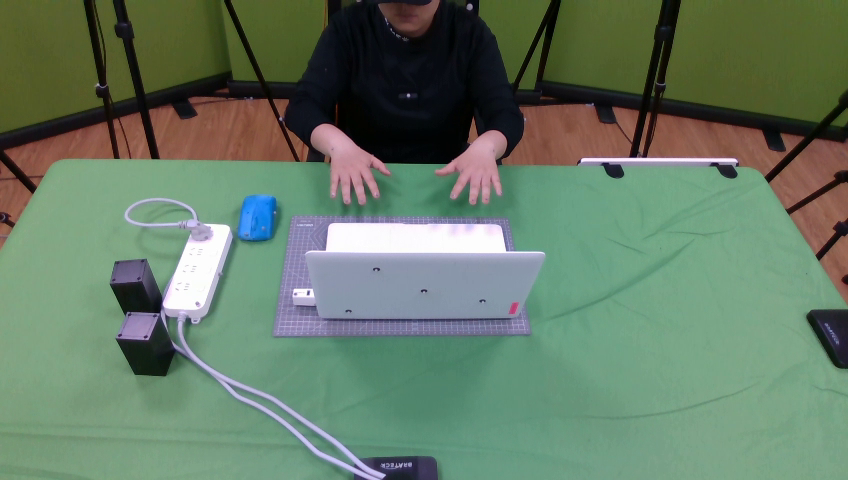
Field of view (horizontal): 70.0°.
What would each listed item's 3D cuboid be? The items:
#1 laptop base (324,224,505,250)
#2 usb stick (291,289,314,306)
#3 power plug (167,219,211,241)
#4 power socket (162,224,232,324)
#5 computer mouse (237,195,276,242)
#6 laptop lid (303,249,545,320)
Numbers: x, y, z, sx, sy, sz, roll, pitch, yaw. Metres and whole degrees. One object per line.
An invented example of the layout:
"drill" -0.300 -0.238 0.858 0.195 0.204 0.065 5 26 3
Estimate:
"laptop base" -0.014 0.055 1.144 0.355 0.023 0.234 0 42 -4
"usb stick" -0.203 0.101 1.067 0.059 0.027 0.021 4 46 -5
"power plug" -0.438 -0.017 1.143 0.072 0.053 0.035 10 43 7
"power socket" -0.411 0.053 1.106 0.072 0.033 0.225 3 45 -1
"computer mouse" -0.333 -0.047 1.207 0.063 0.041 0.116 3 50 -5
"laptop lid" -0.003 0.076 0.962 0.357 0.242 0.013 1 58 -5
